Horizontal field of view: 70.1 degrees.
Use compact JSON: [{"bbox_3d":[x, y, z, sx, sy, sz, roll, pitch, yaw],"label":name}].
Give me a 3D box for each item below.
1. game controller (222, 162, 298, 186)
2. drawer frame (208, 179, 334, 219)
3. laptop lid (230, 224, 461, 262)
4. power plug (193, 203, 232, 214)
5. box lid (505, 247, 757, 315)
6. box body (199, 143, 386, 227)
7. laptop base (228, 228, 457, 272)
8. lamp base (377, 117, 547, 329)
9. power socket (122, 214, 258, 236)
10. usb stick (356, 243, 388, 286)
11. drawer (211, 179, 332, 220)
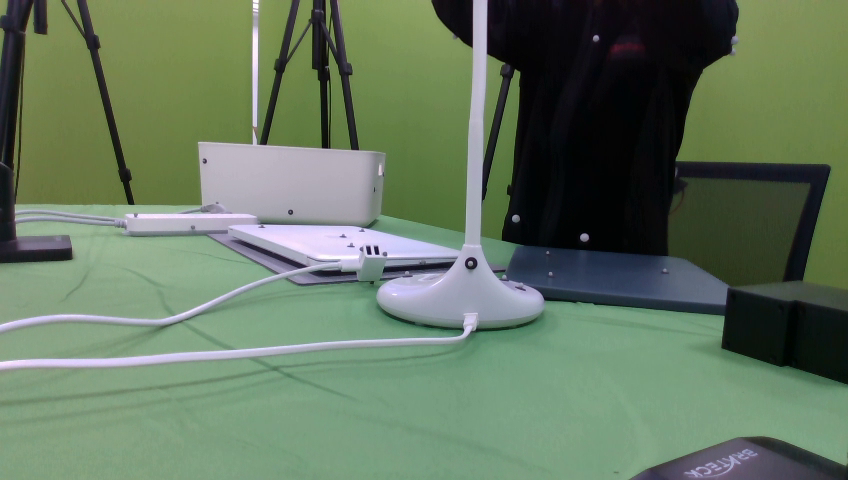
[{"bbox_3d":[-0.357,-0.143,1.321,0.156,0.051,0.097,1,2,-16],"label":"game controller"},{"bbox_3d":[-0.326,-0.093,1.328,0.213,0.082,0.202,-1,5,6],"label":"drawer frame"},{"bbox_3d":[-0.120,0.000,0.889,0.243,0.013,0.355,1,7,-33],"label":"laptop lid"},{"bbox_3d":[-0.393,-0.042,1.139,0.072,0.052,0.035,-14,1,31],"label":"power plug"},{"bbox_3d":[0.244,0.044,0.793,0.263,0.015,0.372,4,7,11],"label":"box lid"},{"bbox_3d":[-0.276,-0.124,1.334,0.364,0.160,0.254,3,7,1],"label":"box body"},{"bbox_3d":[-0.122,0.011,0.889,0.237,0.023,0.352,2,6,-35],"label":"laptop base"},{"bbox_3d":[0.041,-0.019,0.551,0.161,0.180,0.179,1,10,-10],"label":"lamp base"},{"bbox_3d":[-0.398,-0.028,1.049,0.228,0.032,0.072,-3,8,-34],"label":"power socket"},{"bbox_3d":[-0.058,0.029,0.658,0.027,0.059,0.021,-5,52,-18],"label":"usb stick"},{"bbox_3d":[-0.328,-0.095,1.332,0.212,0.073,0.194,5,8,6],"label":"drawer"}]
